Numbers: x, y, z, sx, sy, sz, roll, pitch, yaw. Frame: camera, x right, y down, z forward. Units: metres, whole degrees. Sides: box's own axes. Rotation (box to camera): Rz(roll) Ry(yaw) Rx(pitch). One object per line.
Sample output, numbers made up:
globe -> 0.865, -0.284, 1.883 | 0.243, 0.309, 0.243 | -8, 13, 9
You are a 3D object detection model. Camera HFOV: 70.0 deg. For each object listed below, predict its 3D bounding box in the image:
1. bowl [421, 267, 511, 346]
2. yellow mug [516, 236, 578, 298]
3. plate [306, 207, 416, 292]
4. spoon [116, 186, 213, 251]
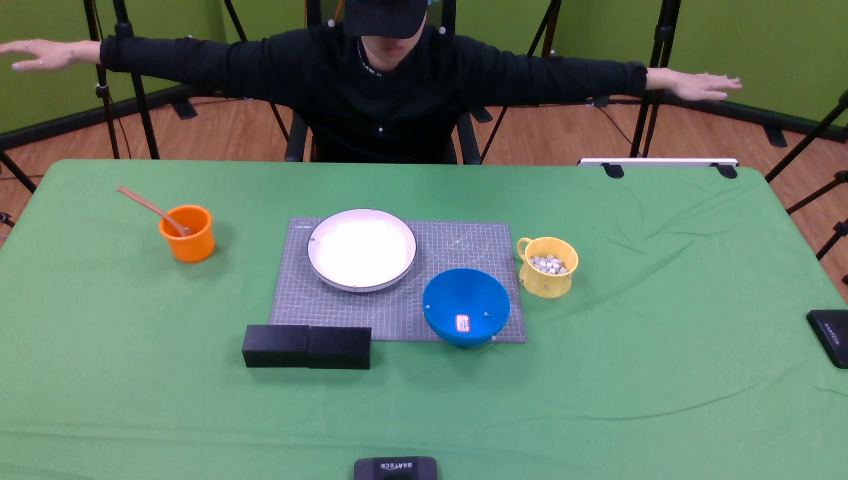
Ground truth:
bowl -> 0.068, 0.128, 1.037 | 0.151, 0.077, 0.150 | 3, 46, -2
yellow mug -> 0.223, 0.041, 1.145 | 0.100, 0.064, 0.130 | -30, 54, -28
plate -> -0.119, 0.021, 1.153 | 0.209, 0.038, 0.208 | 2, 46, -2
spoon -> -0.474, -0.041, 1.112 | 0.021, 0.195, 0.041 | -30, 32, 30
